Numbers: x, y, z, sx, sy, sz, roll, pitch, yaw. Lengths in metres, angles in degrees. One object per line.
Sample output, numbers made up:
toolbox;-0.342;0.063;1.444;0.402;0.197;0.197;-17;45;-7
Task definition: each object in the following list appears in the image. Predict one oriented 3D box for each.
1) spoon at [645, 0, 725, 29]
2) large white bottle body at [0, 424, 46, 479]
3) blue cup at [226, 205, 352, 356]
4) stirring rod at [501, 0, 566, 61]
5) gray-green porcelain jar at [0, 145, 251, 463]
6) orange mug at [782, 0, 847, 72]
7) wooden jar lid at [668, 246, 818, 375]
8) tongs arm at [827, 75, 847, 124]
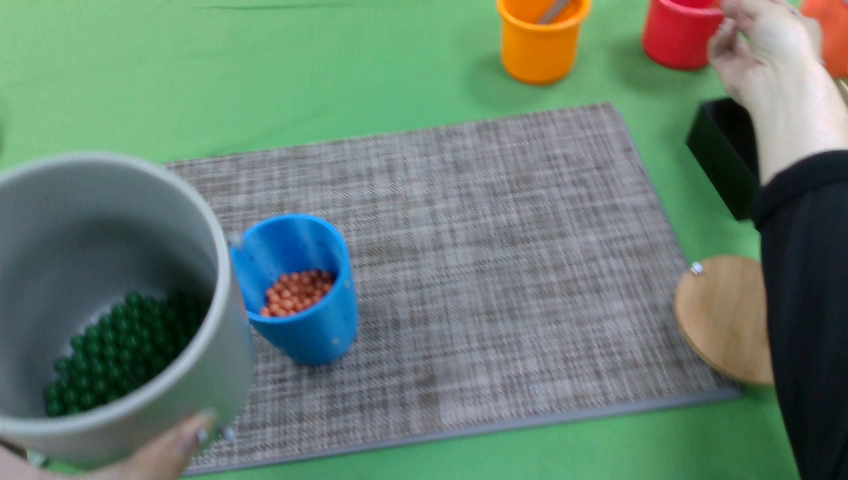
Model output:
spoon;0.290;-0.231;0.579;0.041;0.022;0.192;-32;16;-19
large white bottle body;-0.333;0.076;0.384;0.130;0.186;0.129;-1;56;2
blue cup;-0.091;0.038;0.442;0.092;0.101;0.092;-2;57;3
stirring rod;0.142;-0.247;0.603;0.176;0.006;0.014;-44;58;25
gray-green porcelain jar;-0.133;0.038;0.264;0.106;0.127;0.105;4;63;-8
orange mug;0.424;-0.220;0.591;0.083;0.102;0.125;-9;52;-3
wooden jar lid;0.240;0.054;0.463;0.108;0.021;0.107;0;55;0
tongs arm;0.436;0.006;0.477;0.051;0.027;0.381;-4;56;-6
